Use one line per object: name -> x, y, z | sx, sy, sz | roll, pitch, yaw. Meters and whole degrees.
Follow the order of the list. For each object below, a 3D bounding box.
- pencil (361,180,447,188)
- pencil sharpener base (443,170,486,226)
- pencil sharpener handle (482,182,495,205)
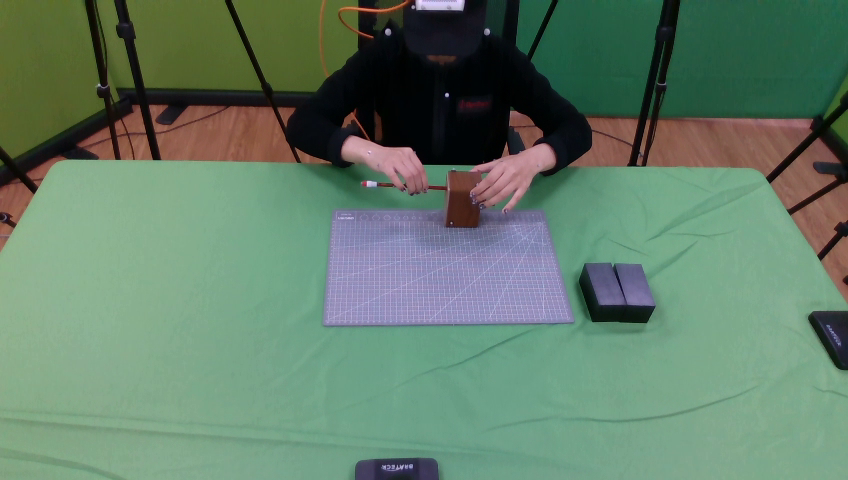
pencil -> -0.027, -0.109, 1.192 | 0.194, 0.012, 0.012 | 2, 46, -4
pencil sharpener base -> 0.080, -0.083, 1.221 | 0.077, 0.107, 0.061 | 1, 46, -4
pencil sharpener handle -> 0.132, -0.093, 1.218 | 0.031, 0.068, 0.036 | 1, 57, -4
